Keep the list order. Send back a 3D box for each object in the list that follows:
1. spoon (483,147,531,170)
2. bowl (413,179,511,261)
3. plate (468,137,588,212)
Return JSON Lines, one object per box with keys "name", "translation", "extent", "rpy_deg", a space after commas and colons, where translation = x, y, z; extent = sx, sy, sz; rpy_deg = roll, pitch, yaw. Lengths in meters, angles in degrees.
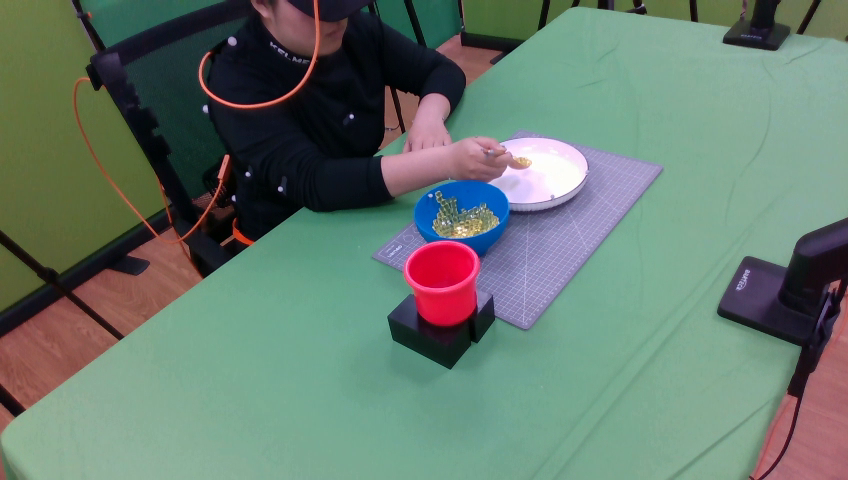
{"name": "spoon", "translation": [0.134, -0.136, 0.990], "extent": [0.041, 0.021, 0.195], "rpy_deg": [18, 4, 26]}
{"name": "bowl", "translation": [0.062, -0.021, 0.947], "extent": [0.151, 0.077, 0.150], "rpy_deg": [-5, 40, 5]}
{"name": "plate", "translation": [0.182, -0.112, 1.064], "extent": [0.207, 0.039, 0.206], "rpy_deg": [-5, 40, 5]}
